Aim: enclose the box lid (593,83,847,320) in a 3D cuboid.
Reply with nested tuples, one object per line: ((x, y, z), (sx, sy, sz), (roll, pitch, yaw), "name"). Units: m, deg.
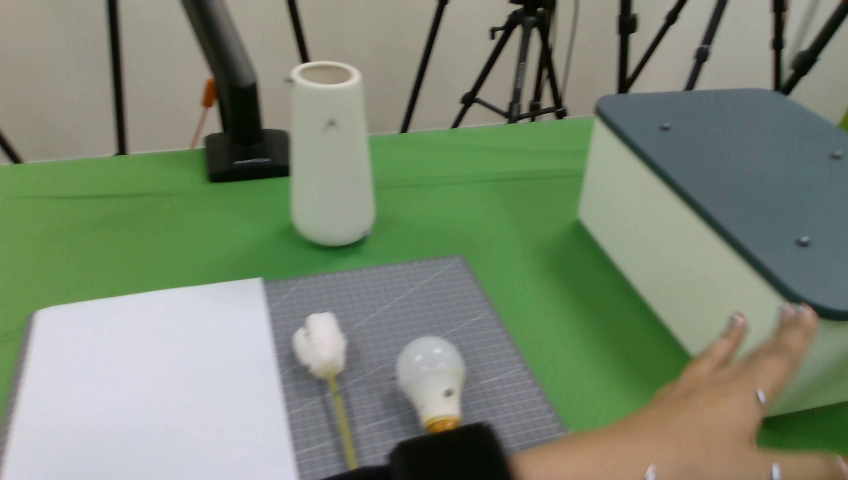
((0.359, -0.066, 0.597), (0.264, 0.015, 0.367), (-7, 40, -13), "box lid")

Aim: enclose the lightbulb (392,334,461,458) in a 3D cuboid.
((0.007, 0.131, 0.513), (0.060, 0.060, 0.106), (-5, 53, -13), "lightbulb")

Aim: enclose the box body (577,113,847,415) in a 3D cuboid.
((0.356, -0.008, 0.653), (0.255, 0.161, 0.360), (-6, 38, -15), "box body")

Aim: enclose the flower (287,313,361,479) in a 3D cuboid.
((-0.047, 0.193, 0.454), (0.044, 0.038, 0.357), (-31, 47, 2), "flower")

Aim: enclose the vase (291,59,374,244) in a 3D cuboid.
((-0.105, -0.094, 0.679), (0.098, 0.201, 0.097), (2, 36, -1), "vase")
